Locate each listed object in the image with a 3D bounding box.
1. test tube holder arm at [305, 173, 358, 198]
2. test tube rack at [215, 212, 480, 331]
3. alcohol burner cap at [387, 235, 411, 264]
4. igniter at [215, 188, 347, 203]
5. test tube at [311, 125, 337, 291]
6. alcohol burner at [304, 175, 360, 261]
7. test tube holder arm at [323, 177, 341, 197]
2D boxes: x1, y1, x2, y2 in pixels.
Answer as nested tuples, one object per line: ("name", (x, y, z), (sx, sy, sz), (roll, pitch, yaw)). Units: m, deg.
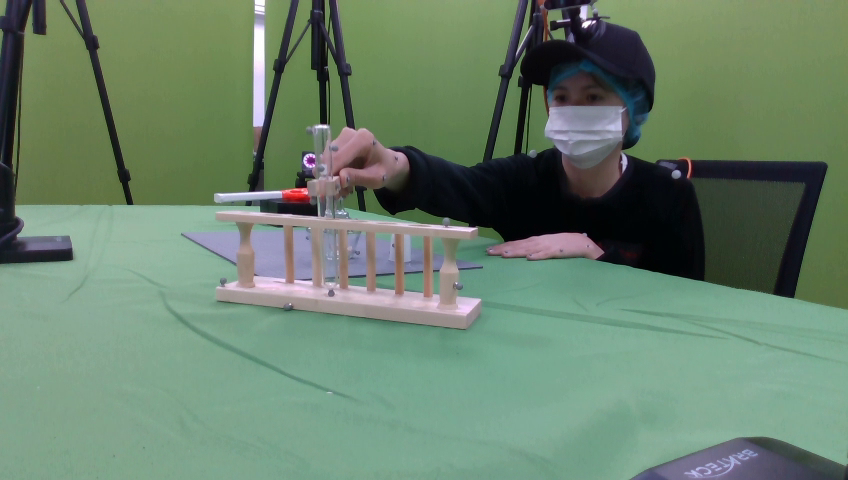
("test tube holder arm", (-0.090, -0.057, 0.612), (0.013, 0.015, 0.178), (-1, 9, 5))
("test tube rack", (-0.071, 0.023, 0.565), (0.242, 0.085, 0.067), (5, 7, 16))
("alcohol burner cap", (-0.035, 0.009, 0.840), (0.034, 0.048, 0.034), (2, 6, 0))
("igniter", (-0.293, -0.094, 1.267), (0.278, 0.025, 0.057), (-6, 12, -33))
("test tube", (-0.090, -0.028, 0.546), (0.017, 0.150, 0.017), (-2, 8, 1))
("alcohol burner", (-0.126, -0.031, 0.838), (0.078, 0.119, 0.078), (3, 5, 0))
("test tube holder arm", (-0.085, -0.051, 0.567), (0.010, 0.015, 0.087), (-4, 9, -4))
